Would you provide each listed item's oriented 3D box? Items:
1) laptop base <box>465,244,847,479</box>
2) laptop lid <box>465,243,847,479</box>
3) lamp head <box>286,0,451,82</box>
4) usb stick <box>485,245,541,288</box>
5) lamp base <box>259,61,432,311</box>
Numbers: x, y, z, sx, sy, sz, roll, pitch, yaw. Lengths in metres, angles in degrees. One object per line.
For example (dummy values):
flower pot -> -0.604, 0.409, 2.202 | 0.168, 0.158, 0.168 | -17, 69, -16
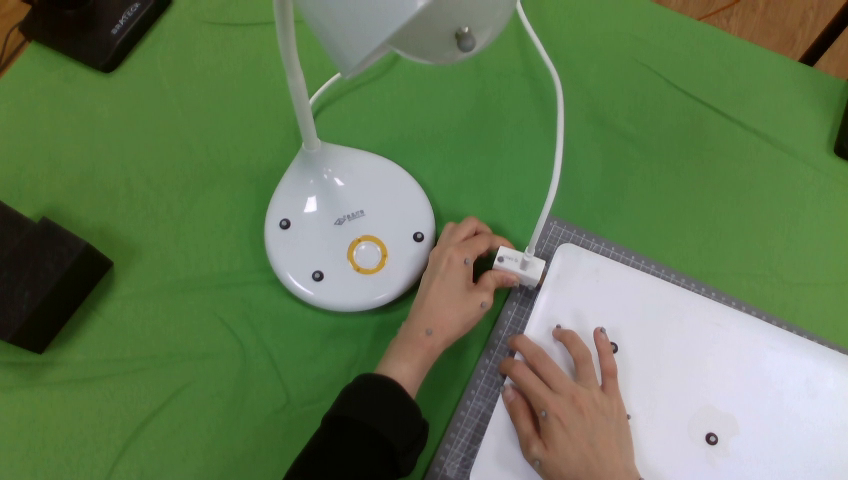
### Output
laptop base -> 0.237, 0.168, 0.520 | 0.354, 0.023, 0.234 | 22, 73, 6
laptop lid -> 0.237, 0.166, 0.509 | 0.356, 0.013, 0.240 | 24, 73, 7
lamp head -> -0.023, -0.135, 0.213 | 0.112, 0.112, 0.123 | -43, 100, -16
usb stick -> 0.087, 0.027, 0.554 | 0.059, 0.027, 0.021 | 21, 66, 1
lamp base -> -0.078, -0.048, 0.502 | 0.160, 0.181, 0.178 | -33, 71, -14
